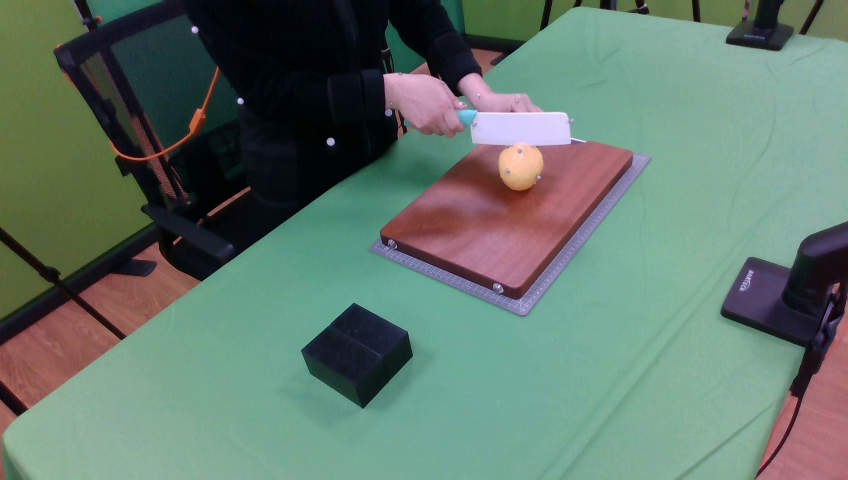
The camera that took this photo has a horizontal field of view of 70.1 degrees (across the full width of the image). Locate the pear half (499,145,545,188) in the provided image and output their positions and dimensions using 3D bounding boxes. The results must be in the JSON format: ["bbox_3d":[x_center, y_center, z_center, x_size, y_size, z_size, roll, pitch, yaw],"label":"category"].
[{"bbox_3d":[0.167,-0.145,1.014,0.076,0.110,0.056,12,47,16],"label":"pear half"}]

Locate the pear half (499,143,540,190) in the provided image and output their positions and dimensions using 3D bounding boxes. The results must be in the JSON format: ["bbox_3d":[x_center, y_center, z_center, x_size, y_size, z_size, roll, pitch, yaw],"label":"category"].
[{"bbox_3d":[0.155,-0.115,0.997,0.070,0.088,0.031,11,45,14],"label":"pear half"}]

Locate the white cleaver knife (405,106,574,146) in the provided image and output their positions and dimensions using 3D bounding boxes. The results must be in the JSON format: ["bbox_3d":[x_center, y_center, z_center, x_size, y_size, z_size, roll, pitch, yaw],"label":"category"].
[{"bbox_3d":[0.099,-0.182,0.980,0.285,0.066,0.021,8,38,22],"label":"white cleaver knife"}]
